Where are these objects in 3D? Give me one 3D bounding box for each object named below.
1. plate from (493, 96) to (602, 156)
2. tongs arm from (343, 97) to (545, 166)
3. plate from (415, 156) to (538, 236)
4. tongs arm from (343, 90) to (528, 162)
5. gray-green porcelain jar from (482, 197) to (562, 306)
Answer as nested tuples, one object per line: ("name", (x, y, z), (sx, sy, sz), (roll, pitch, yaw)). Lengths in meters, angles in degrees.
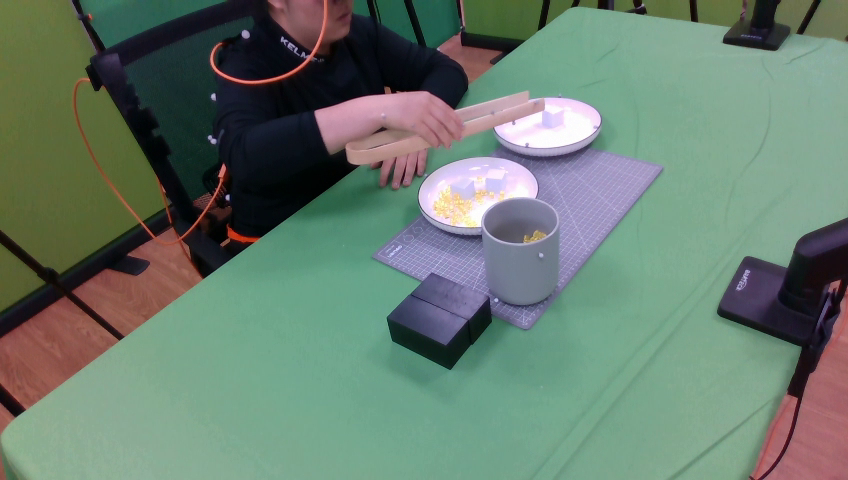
("plate", (0.238, -0.218, 1.179), (0.209, 0.038, 0.208), (-4, 39, 4))
("tongs arm", (0.045, -0.195, 1.054), (0.387, 0.026, 0.050), (-22, 37, -23))
("plate", (0.090, -0.072, 1.034), (0.207, 0.039, 0.206), (-5, 40, 5))
("tongs arm", (0.030, -0.209, 1.078), (0.389, 0.028, 0.028), (-21, 40, -22))
("gray-green porcelain jar", (0.138, 0.020, 0.846), (0.106, 0.127, 0.105), (-5, 40, 5))
